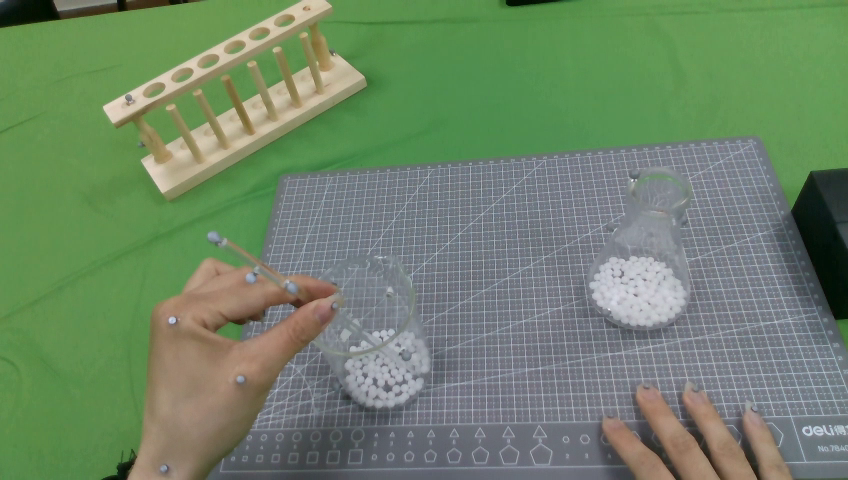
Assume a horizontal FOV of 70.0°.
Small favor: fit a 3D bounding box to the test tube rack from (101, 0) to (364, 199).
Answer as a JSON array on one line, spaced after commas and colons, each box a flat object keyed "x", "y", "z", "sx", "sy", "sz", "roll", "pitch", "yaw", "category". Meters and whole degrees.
[{"x": -0.187, "y": -0.151, "z": 0.623, "sx": 0.242, "sy": 0.086, "sz": 0.066, "roll": -35, "pitch": 55, "yaw": -15, "category": "test tube rack"}]

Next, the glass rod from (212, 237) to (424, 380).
[{"x": -0.055, "y": 0.051, "z": 0.380, "sx": 0.008, "sy": 0.202, "sz": 0.008, "roll": -20, "pitch": 49, "yaw": 25, "category": "glass rod"}]

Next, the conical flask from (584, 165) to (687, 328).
[{"x": 0.152, "y": 0.002, "z": 0.421, "sx": 0.075, "sy": 0.123, "sz": 0.074, "roll": -5, "pitch": 53, "yaw": 7, "category": "conical flask"}]

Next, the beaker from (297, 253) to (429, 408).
[{"x": -0.035, "y": 0.066, "z": 0.423, "sx": 0.073, "sy": 0.101, "sz": 0.083, "roll": 19, "pitch": 59, "yaw": 22, "category": "beaker"}]
